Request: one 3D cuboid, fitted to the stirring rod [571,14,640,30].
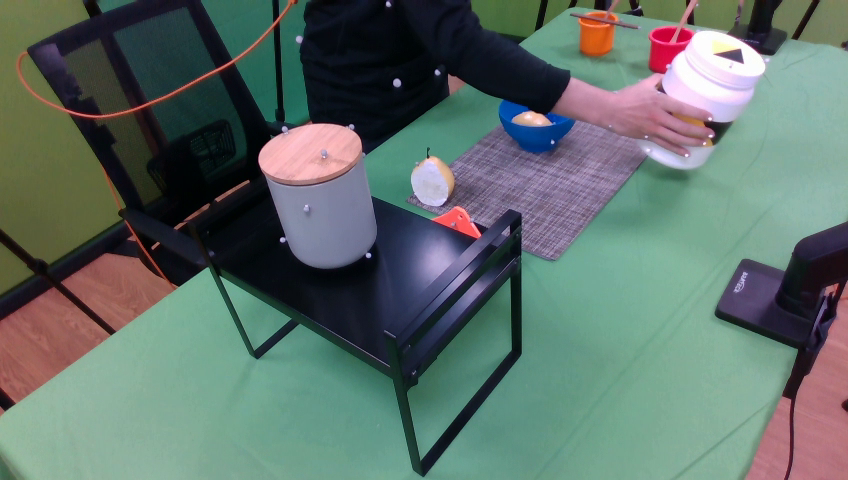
[{"bbox_3d":[0.419,-0.508,1.404,0.174,0.006,0.014,28,55,35],"label":"stirring rod"}]

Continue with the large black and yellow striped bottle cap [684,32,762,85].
[{"bbox_3d":[0.447,-0.273,0.906,0.115,0.019,0.114,9,48,-9],"label":"large black and yellow striped bottle cap"}]

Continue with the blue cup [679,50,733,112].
[{"bbox_3d":[0.545,-0.310,1.193,0.092,0.100,0.092,-3,40,3],"label":"blue cup"}]

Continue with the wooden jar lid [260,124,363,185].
[{"bbox_3d":[-0.119,-0.088,0.645,0.108,0.021,0.108,-4,40,4],"label":"wooden jar lid"}]

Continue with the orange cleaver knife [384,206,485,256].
[{"bbox_3d":[0.012,-0.010,0.942,0.012,0.077,0.210,-37,19,-35],"label":"orange cleaver knife"}]

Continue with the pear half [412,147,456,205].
[{"bbox_3d":[0.019,-0.120,1.042,0.076,0.110,0.056,11,44,16],"label":"pear half"}]

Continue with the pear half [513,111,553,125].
[{"bbox_3d":[0.212,-0.227,1.152,0.088,0.031,0.070,7,45,10],"label":"pear half"}]

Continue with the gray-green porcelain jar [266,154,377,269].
[{"bbox_3d":[-0.112,-0.039,0.685,0.106,0.127,0.105,-4,40,4],"label":"gray-green porcelain jar"}]

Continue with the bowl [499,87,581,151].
[{"bbox_3d":[0.220,-0.223,1.155,0.151,0.077,0.150,-4,40,4],"label":"bowl"}]

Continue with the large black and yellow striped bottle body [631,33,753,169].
[{"bbox_3d":[0.431,-0.221,0.969,0.131,0.184,0.130,8,49,-9],"label":"large black and yellow striped bottle body"}]

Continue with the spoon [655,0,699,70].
[{"bbox_3d":[0.567,-0.463,1.337,0.041,0.022,0.193,30,97,38],"label":"spoon"}]

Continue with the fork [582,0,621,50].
[{"bbox_3d":[0.446,-0.539,1.437,0.207,0.019,0.028,-57,35,12],"label":"fork"}]
